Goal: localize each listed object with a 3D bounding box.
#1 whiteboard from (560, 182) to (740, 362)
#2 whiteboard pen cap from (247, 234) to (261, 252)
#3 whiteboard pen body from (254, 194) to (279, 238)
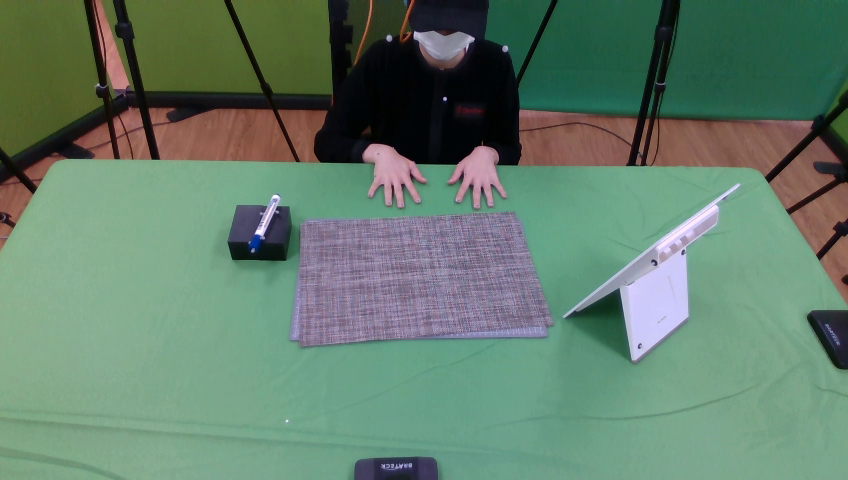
[{"bbox_3d":[0.406,0.075,1.001,0.217,0.306,0.143,-28,73,-28],"label":"whiteboard"},{"bbox_3d":[-0.308,0.005,1.103,0.018,0.018,0.033,8,45,3],"label":"whiteboard pen cap"},{"bbox_3d":[-0.300,-0.038,1.145,0.017,0.017,0.140,8,46,3],"label":"whiteboard pen body"}]
